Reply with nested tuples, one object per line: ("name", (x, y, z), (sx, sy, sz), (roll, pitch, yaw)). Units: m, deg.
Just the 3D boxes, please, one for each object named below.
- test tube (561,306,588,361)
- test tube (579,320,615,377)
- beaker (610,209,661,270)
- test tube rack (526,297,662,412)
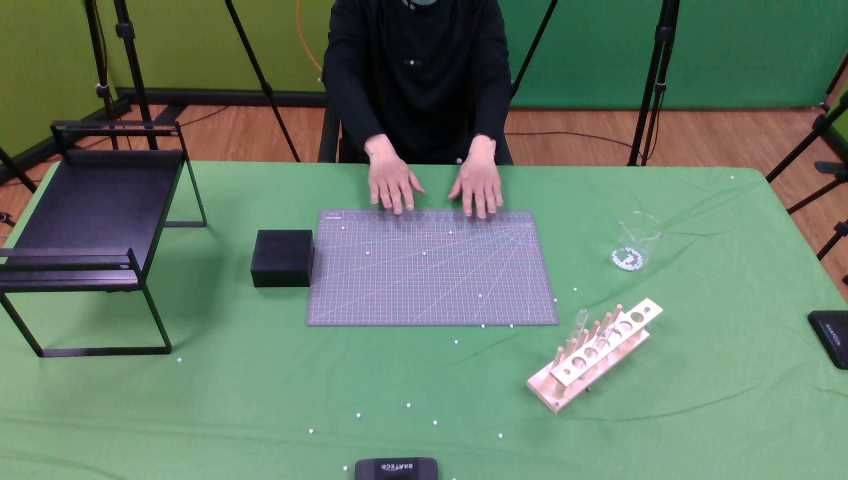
("test tube", (0.239, 0.153, 0.964), (0.017, 0.151, 0.017), (1, 48, -1))
("test tube", (0.265, 0.171, 0.941), (0.017, 0.151, 0.017), (4, 49, -4))
("beaker", (0.404, 0.005, 1.170), (0.074, 0.101, 0.083), (20, 49, 15))
("test tube rack", (0.284, 0.176, 1.007), (0.242, 0.085, 0.066), (-29, 54, -27))
